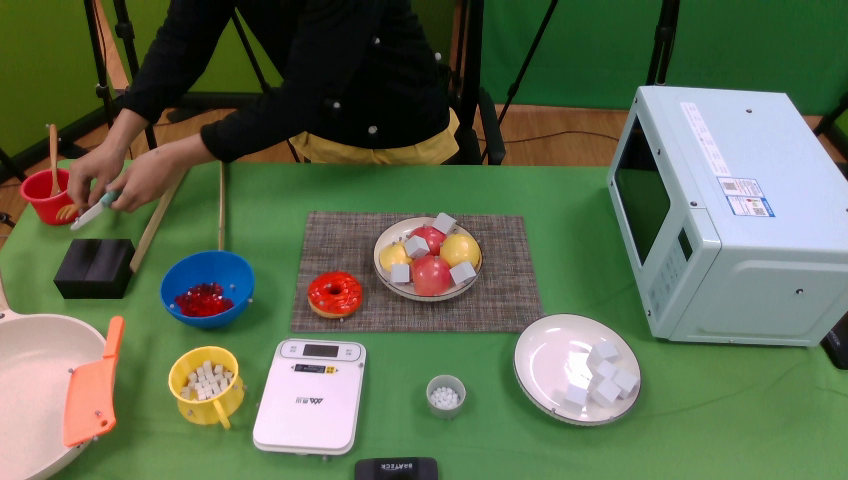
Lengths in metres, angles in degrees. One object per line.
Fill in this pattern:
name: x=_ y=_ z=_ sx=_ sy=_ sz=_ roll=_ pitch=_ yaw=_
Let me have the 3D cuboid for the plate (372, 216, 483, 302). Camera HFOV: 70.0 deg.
plate: x=0.006 y=0.038 z=1.145 sx=0.209 sy=0.038 sz=0.208 roll=2 pitch=46 yaw=-2

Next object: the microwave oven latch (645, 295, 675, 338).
microwave oven latch: x=0.411 y=0.134 z=1.061 sx=0.030 sy=0.029 sz=0.078 roll=3 pitch=45 yaw=0

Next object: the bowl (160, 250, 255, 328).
bowl: x=-0.362 y=0.098 z=1.040 sx=0.151 sy=0.077 sz=0.150 roll=2 pitch=45 yaw=-2

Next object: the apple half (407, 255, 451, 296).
apple half: x=0.011 y=0.058 z=1.103 sx=0.075 sy=0.053 sz=0.080 roll=-6 pitch=43 yaw=-13

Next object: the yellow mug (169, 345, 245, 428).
yellow mug: x=-0.322 y=0.230 z=0.922 sx=0.100 sy=0.064 sz=0.130 roll=-24 pitch=53 yaw=-25

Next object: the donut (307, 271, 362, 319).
donut: x=-0.158 y=0.097 z=1.073 sx=0.099 sy=0.048 sz=0.098 roll=4 pitch=45 yaw=-4

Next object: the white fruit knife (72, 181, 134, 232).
white fruit knife: x=-0.569 y=-0.063 z=1.081 sx=0.016 sy=0.027 sz=0.206 roll=11 pitch=26 yaw=-4

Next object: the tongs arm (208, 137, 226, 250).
tongs arm: x=-0.430 y=-0.090 z=1.245 sx=0.051 sy=0.026 sz=0.382 roll=-7 pitch=46 yaw=-7

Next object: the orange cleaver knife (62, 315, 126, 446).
orange cleaver knife: x=-0.480 y=0.199 z=0.887 sx=0.077 sy=0.012 sz=0.210 roll=-9 pitch=47 yaw=-8

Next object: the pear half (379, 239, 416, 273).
pear half: x=-0.048 y=0.024 z=1.147 sx=0.070 sy=0.031 sz=0.087 roll=12 pitch=47 yaw=-11

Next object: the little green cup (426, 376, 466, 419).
little green cup: x=0.033 y=0.248 z=0.950 sx=0.061 sy=0.039 sz=0.061 roll=2 pitch=46 yaw=-2

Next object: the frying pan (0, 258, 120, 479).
frying pan: x=-0.647 y=0.164 z=0.936 sx=0.307 sy=0.103 sz=0.485 roll=-19 pitch=58 yaw=-22

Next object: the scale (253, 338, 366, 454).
scale: x=-0.175 y=0.236 z=0.951 sx=0.149 sy=0.032 sz=0.199 roll=4 pitch=45 yaw=0

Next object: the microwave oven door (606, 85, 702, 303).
microwave oven door: x=0.422 y=-0.094 z=1.140 sx=0.039 sy=0.245 sz=0.353 roll=2 pitch=46 yaw=-1

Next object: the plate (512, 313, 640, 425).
plate: x=0.246 y=0.213 z=0.999 sx=0.208 sy=0.039 sz=0.206 roll=2 pitch=46 yaw=-2

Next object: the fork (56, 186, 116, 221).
fork: x=-0.619 y=-0.071 z=1.124 sx=0.028 sy=0.019 sz=0.206 roll=-16 pitch=17 yaw=4

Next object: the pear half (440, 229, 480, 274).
pear half: x=0.065 y=0.007 z=1.150 sx=0.076 sy=0.056 sz=0.109 roll=-10 pitch=43 yaw=-2

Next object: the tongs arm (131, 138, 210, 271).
tongs arm: x=-0.513 y=-0.087 z=1.238 sx=0.028 sy=0.028 sz=0.385 roll=0 pitch=45 yaw=6

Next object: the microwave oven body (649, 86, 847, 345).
microwave oven body: x=0.567 y=-0.053 z=1.118 sx=0.326 sy=0.261 sz=0.439 roll=2 pitch=45 yaw=-1

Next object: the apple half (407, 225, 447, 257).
apple half: x=0.009 y=-0.006 z=1.176 sx=0.081 sy=0.033 sz=0.081 roll=2 pitch=52 yaw=-2

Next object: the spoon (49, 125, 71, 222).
spoon: x=-0.718 y=-0.131 z=1.189 sx=0.041 sy=0.021 sz=0.193 roll=-3 pitch=91 yaw=-6
